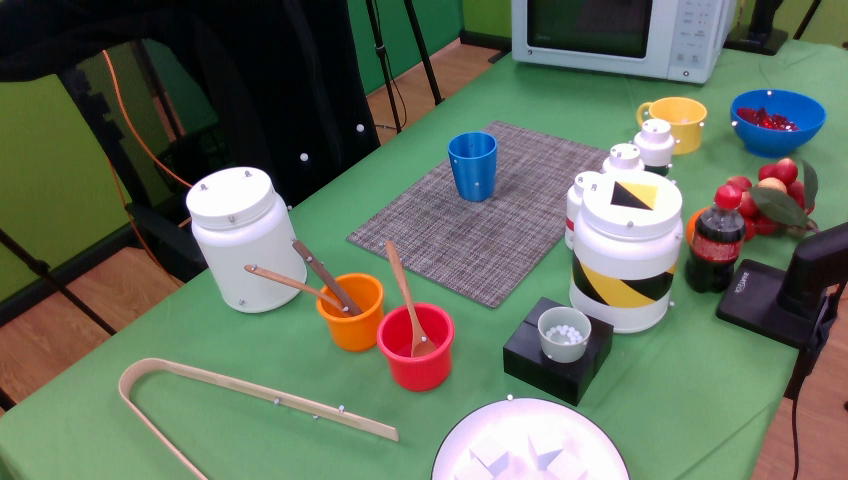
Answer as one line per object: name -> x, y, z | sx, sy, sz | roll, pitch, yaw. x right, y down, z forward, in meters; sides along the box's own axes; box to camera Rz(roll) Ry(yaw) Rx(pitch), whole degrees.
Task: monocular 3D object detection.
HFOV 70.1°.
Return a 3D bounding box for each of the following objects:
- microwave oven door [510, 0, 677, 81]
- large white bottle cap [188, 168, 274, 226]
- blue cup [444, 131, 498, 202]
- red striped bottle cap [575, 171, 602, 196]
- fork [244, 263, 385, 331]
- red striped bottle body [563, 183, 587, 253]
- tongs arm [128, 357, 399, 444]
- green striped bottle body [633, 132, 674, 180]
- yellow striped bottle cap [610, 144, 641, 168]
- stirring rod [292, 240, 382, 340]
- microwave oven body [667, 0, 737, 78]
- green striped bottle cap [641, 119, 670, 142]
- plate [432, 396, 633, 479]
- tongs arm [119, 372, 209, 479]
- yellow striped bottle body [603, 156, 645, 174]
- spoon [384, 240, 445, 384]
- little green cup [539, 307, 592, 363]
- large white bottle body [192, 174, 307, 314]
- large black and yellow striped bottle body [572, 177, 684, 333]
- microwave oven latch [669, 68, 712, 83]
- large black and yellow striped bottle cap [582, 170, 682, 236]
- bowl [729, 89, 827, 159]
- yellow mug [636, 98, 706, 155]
microwave oven door -> 0.354, -0.478, 1.290 | 0.353, 0.245, 0.039 | 15, 45, 25
large white bottle cap -> -0.264, -0.061, 0.831 | 0.115, 0.018, 0.114 | -4, 40, 4
blue cup -> 0.087, -0.122, 1.040 | 0.092, 0.100, 0.092 | -5, 42, 5
red striped bottle cap -> 0.242, -0.081, 0.876 | 0.044, 0.018, 0.044 | -5, 44, 5
fork -> -0.142, 0.077, 0.807 | 0.209, 0.018, 0.028 | 30, 41, -24
red striped bottle body -> 0.246, -0.041, 0.910 | 0.063, 0.120, 0.062 | -2, 38, 2
tongs arm -> -0.213, 0.205, 0.755 | 0.382, 0.026, 0.051 | 12, 46, 23
green striped bottle body -> 0.376, -0.135, 1.001 | 0.063, 0.120, 0.063 | -5, 40, 5
yellow striped bottle cap -> 0.307, -0.128, 0.923 | 0.044, 0.019, 0.044 | -5, 40, 5
stirring rod -> -0.119, 0.068, 0.826 | 0.176, 0.006, 0.014 | 49, 59, -4
microwave oven body -> 0.462, -0.552, 1.369 | 0.439, 0.261, 0.326 | 15, 46, 26
green striped bottle cap -> 0.371, -0.175, 0.968 | 0.044, 0.020, 0.044 | -5, 41, 5
plate -> 0.112, 0.261, 0.634 | 0.209, 0.038, 0.208 | -5, 40, 4
tongs arm -> -0.258, 0.257, 0.700 | 0.384, 0.028, 0.028 | 24, 55, 34
yellow striped bottle body -> 0.313, -0.089, 0.956 | 0.063, 0.121, 0.062 | -4, 40, 4
spoon -> -0.016, 0.090, 0.776 | 0.042, 0.021, 0.193 | -17, 85, -11
little green cup -> 0.168, 0.115, 0.721 | 0.061, 0.039, 0.061 | -4, 42, 4
large white bottle body -> -0.256, 0.003, 0.885 | 0.130, 0.185, 0.130 | -5, 40, 4
large black and yellow striped bottle body -> 0.262, 0.017, 0.788 | 0.131, 0.185, 0.130 | -5, 40, 4
microwave oven latch -> 0.556, -0.348, 1.263 | 0.078, 0.029, 0.030 | 15, 46, 25
large black and yellow striped bottle cap -> 0.252, -0.048, 0.735 | 0.115, 0.019, 0.114 | -3, 40, 3
bowl -> 0.615, -0.197, 1.069 | 0.151, 0.077, 0.150 | -5, 40, 5
yellow mug -> 0.453, -0.217, 1.128 | 0.100, 0.064, 0.129 | -34, 46, -27
